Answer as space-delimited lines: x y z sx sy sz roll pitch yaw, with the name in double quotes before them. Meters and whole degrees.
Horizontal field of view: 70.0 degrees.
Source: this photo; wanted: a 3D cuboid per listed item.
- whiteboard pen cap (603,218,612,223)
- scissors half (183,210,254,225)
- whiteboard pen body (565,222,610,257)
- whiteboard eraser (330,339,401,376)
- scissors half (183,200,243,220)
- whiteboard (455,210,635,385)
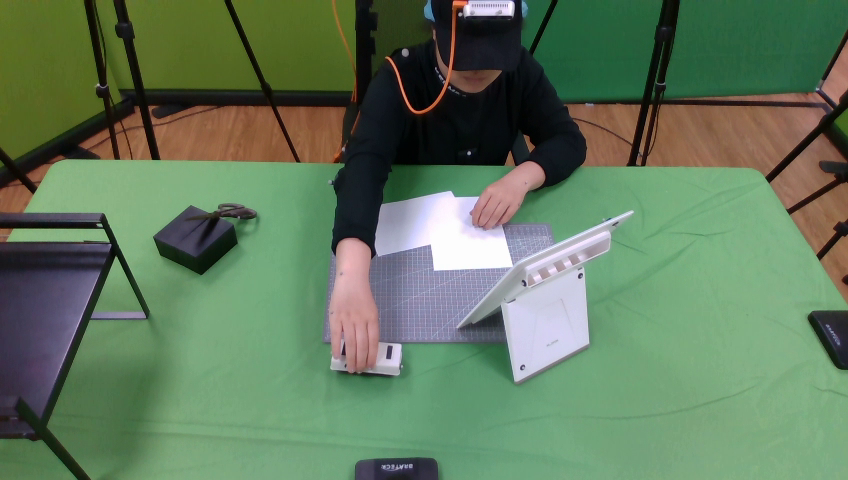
"whiteboard pen cap" 0.379 -0.031 1.255 0.033 0.018 0.018 -33 57 -29
"scissors half" -0.390 -0.042 1.158 0.040 0.013 0.175 44 21 21
"whiteboard pen body" 0.335 -0.004 1.228 0.141 0.017 0.017 -33 56 -29
"whiteboard eraser" -0.094 0.194 0.989 0.113 0.042 0.055 4 31 0
"scissors half" -0.405 -0.054 1.163 0.040 0.013 0.175 32 18 6
"whiteboard" 0.211 0.111 0.955 0.217 0.306 0.143 -21 72 -23
